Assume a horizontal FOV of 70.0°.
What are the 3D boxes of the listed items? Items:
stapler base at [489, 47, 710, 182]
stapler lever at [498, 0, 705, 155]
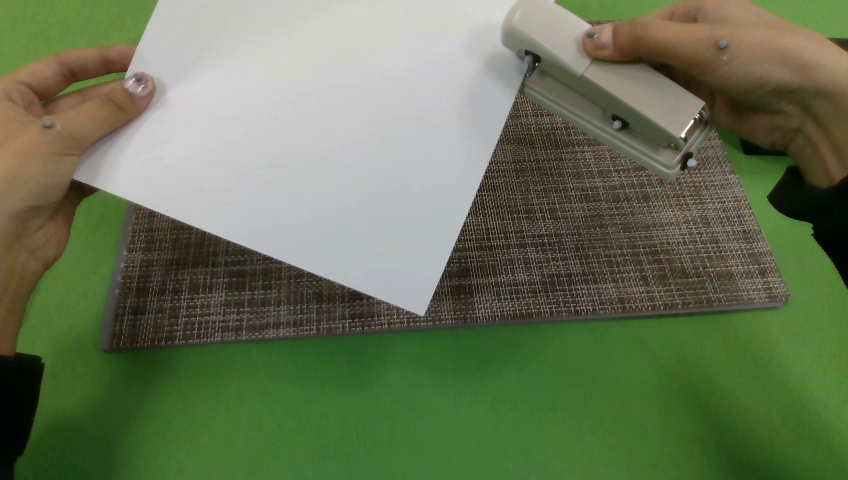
[{"bbox_3d":[0.095,-0.084,0.343,0.130,0.024,0.041,36,90,17],"label":"stapler base"},{"bbox_3d":[0.090,-0.089,0.321,0.117,0.040,0.027,36,90,20],"label":"stapler lever"}]
